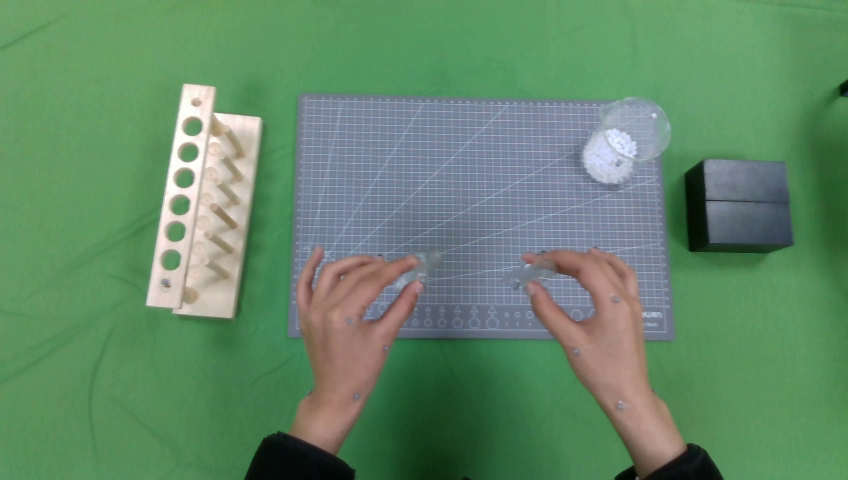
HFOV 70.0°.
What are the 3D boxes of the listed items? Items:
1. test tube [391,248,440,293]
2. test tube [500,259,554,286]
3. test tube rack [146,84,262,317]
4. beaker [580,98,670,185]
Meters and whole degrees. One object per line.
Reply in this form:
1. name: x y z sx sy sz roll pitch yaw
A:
1. test tube: -0.010 0.031 0.552 0.017 0.150 0.017 3 76 -13
2. test tube: 0.087 0.030 0.534 0.017 0.150 0.017 0 83 -4
3. test tube rack: -0.240 -0.041 0.676 0.067 0.085 0.241 5 78 -2
4. beaker: 0.225 -0.111 0.704 0.084 0.100 0.074 32 78 6
